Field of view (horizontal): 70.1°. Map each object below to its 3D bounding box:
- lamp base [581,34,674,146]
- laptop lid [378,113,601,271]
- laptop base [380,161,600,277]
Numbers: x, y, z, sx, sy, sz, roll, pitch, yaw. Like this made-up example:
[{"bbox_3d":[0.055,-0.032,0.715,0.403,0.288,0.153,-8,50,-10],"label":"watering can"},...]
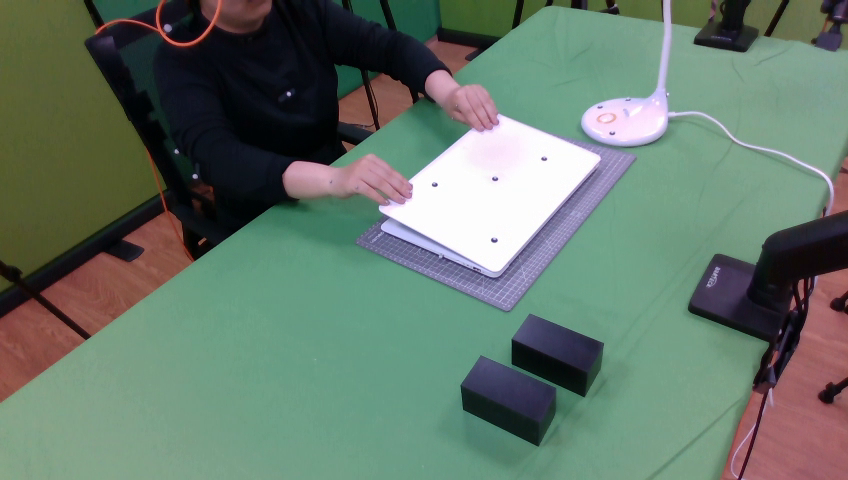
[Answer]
[{"bbox_3d":[0.392,-0.291,1.129,0.180,0.181,0.159,-11,41,-8],"label":"lamp base"},{"bbox_3d":[0.120,-0.100,1.022,0.240,0.013,0.358,30,52,26],"label":"laptop lid"},{"bbox_3d":[0.122,-0.077,1.043,0.233,0.023,0.355,20,47,33],"label":"laptop base"}]
